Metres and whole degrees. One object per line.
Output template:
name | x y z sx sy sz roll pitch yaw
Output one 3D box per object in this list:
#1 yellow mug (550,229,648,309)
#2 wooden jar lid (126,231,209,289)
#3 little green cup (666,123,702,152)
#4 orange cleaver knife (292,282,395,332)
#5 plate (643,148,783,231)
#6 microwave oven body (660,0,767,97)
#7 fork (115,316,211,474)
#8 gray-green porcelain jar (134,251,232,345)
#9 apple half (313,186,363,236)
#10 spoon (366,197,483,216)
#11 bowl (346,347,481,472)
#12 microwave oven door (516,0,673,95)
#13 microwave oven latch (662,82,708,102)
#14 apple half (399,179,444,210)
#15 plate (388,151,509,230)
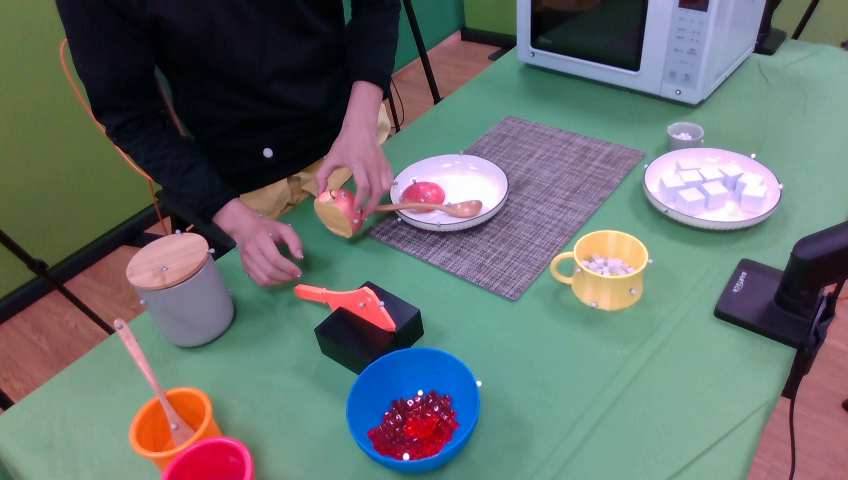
yellow mug | 0.245 0.040 0.857 0.130 0.064 0.099 1 42 11
wooden jar lid | -0.340 0.030 0.808 0.108 0.021 0.108 -5 39 5
little green cup | 0.472 -0.183 1.102 0.061 0.039 0.061 -5 41 5
orange cleaver knife | -0.116 0.091 0.835 0.209 0.077 0.012 2 32 48
plate | 0.464 -0.079 0.986 0.207 0.039 0.206 -4 40 4
microwave oven body | 0.473 -0.517 1.313 0.438 0.261 0.327 26 51 34
fork | -0.308 0.179 0.708 0.028 0.018 0.207 -30 89 -23
gray-green porcelain jar | -0.334 0.077 0.849 0.106 0.127 0.105 -4 41 4
apple half | -0.128 -0.051 0.956 0.080 0.075 0.053 17 51 40
spoon | 0.001 -0.057 0.999 0.194 0.022 0.041 1 51 -10
bowl | -0.008 0.205 0.691 0.151 0.077 0.150 -4 40 4
microwave oven door | 0.344 -0.458 1.256 0.353 0.245 0.039 26 51 33
microwave oven latch | 0.517 -0.298 1.203 0.078 0.029 0.030 28 53 35
apple half | -0.003 -0.088 1.046 0.081 0.033 0.081 -2 42 2
plate | 0.044 -0.082 1.042 0.209 0.038 0.208 -4 40 4
